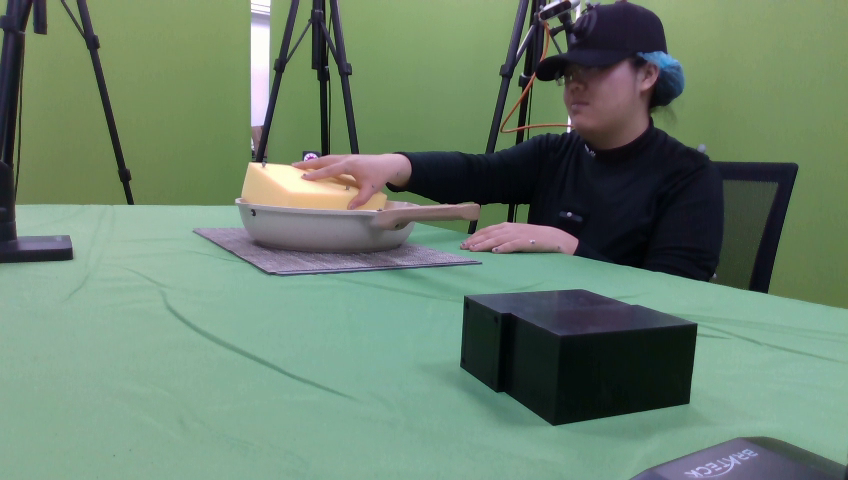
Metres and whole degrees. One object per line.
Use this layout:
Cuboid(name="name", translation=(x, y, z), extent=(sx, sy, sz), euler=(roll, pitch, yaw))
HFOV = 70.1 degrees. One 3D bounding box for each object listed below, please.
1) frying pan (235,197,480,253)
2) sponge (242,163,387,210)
Cuboid(name="frying pan", translation=(-0.089, -0.034, 0.891), extent=(0.308, 0.102, 0.485), euler=(-4, 2, -36))
Cuboid(name="sponge", translation=(-0.177, -0.074, 1.000), extent=(0.117, 0.061, 0.208), euler=(33, 23, 34))
